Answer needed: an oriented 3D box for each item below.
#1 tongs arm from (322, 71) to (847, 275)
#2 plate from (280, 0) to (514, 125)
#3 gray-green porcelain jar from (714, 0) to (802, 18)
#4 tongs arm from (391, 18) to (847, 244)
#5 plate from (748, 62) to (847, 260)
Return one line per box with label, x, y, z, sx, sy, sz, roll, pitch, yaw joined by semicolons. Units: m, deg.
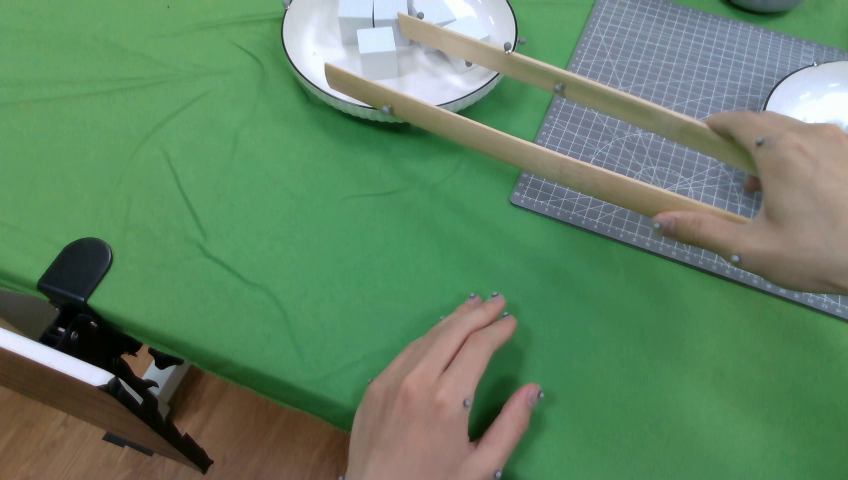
tongs arm;0.077;-0.057;0.419;0.384;0.028;0.028;25;54;25
plate;-0.023;-0.178;0.552;0.208;0.039;0.205;1;58;-1
gray-green porcelain jar;0.338;-0.291;0.582;0.106;0.127;0.105;1;57;-1
tongs arm;0.109;-0.091;0.441;0.381;0.027;0.050;29;59;27
plate;0.363;-0.057;0.486;0.209;0.038;0.207;1;58;-1
